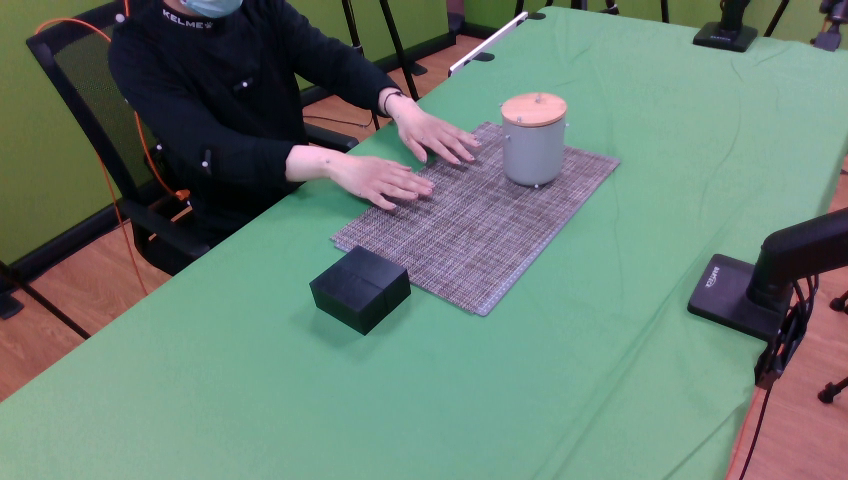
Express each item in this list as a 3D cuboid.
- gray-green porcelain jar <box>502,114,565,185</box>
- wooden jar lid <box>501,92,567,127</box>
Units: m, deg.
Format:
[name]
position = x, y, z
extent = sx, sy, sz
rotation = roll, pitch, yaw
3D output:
[gray-green porcelain jar]
position = 0.189, -0.168, 1.051
extent = 0.106, 0.127, 0.105
rotation = -4, 41, 4
[wooden jar lid]
position = 0.183, -0.214, 1.010
extent = 0.108, 0.021, 0.108
rotation = -5, 40, 5
